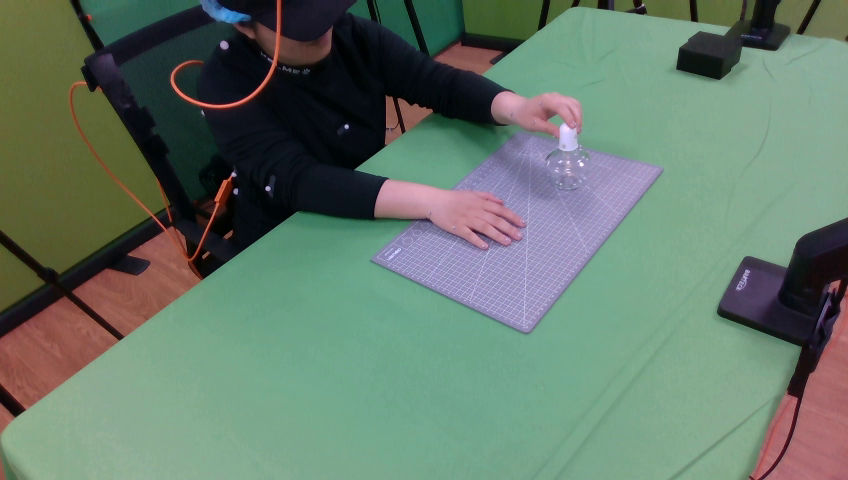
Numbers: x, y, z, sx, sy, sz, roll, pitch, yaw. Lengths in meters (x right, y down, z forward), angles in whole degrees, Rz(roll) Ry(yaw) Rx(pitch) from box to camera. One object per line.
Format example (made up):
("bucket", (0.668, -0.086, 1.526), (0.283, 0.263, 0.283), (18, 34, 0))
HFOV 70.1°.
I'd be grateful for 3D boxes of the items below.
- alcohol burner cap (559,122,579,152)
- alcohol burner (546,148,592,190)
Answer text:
("alcohol burner cap", (0.241, -0.174, 1.009), (0.034, 0.048, 0.033), (-9, 39, 7))
("alcohol burner", (0.247, -0.146, 1.034), (0.078, 0.120, 0.077), (-7, 41, 6))
